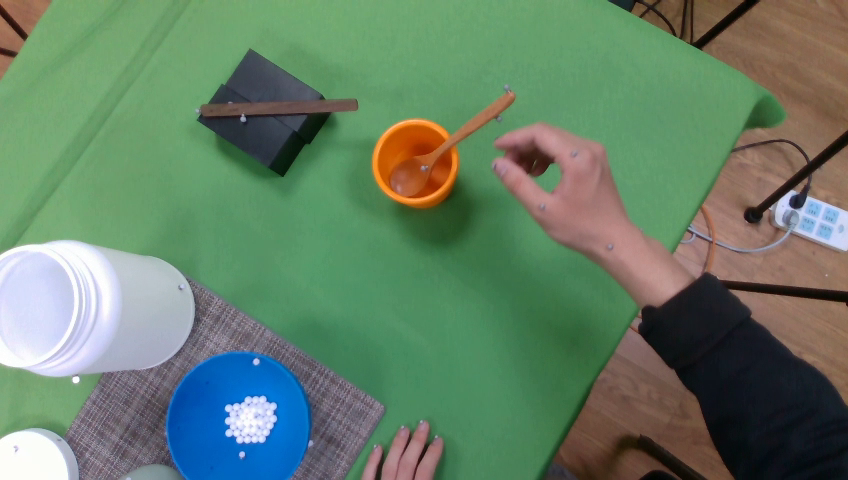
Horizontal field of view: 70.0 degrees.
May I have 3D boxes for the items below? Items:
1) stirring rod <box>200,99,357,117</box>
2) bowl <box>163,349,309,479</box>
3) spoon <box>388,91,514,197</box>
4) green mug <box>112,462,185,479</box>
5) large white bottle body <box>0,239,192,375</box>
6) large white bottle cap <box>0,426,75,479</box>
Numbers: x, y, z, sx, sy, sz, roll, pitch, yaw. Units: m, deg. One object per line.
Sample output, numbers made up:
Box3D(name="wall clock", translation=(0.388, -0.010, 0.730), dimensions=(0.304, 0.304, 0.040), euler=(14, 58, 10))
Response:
Box3D(name="stirring rod", translation=(-0.161, -0.145, 0.665), dimensions=(0.176, 0.006, 0.014), euler=(-1, 119, 4))
Box3D(name="bowl", translation=(-0.189, 0.190, 0.650), dimensions=(0.151, 0.077, 0.151), euler=(0, 85, 5))
Box3D(name="spoon", translation=(0.023, -0.097, 0.629), dimensions=(0.022, 0.193, 0.041), euler=(-11, 76, -41))
Box3D(name="green mug", translation=(-0.290, 0.292, 0.635), dimensions=(0.125, 0.105, 0.092), euler=(5, 84, 5))
Box3D(name="large white bottle body", translation=(-0.341, 0.070, 0.620), dimensions=(0.130, 0.185, 0.130), euler=(-1, 82, 8))
Box3D(name="large white bottle cap", translation=(-0.459, 0.273, 0.694), dimensions=(0.115, 0.018, 0.114), euler=(-1, 84, 5))
